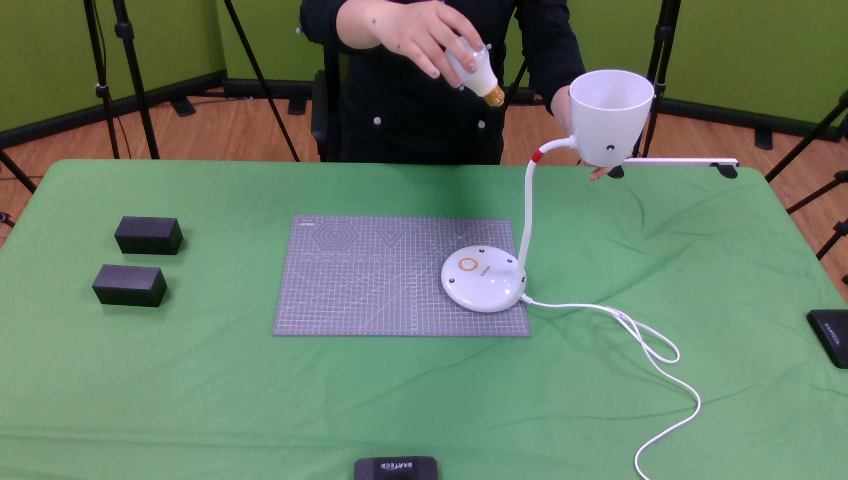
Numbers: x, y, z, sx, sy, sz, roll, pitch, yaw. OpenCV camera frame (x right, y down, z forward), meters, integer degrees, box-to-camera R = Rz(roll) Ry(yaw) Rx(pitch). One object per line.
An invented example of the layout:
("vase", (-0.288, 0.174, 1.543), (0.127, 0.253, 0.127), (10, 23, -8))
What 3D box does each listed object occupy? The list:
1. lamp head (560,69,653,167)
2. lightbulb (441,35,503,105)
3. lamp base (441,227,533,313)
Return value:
("lamp head", (0.254, -0.165, 0.862), (0.112, 0.123, 0.111), (0, 42, 0))
("lightbulb", (0.068, -0.219, 0.796), (0.059, 0.108, 0.059), (-33, 31, 23))
("lamp base", (0.126, 0.021, 1.072), (0.179, 0.181, 0.160), (23, 49, 14))
